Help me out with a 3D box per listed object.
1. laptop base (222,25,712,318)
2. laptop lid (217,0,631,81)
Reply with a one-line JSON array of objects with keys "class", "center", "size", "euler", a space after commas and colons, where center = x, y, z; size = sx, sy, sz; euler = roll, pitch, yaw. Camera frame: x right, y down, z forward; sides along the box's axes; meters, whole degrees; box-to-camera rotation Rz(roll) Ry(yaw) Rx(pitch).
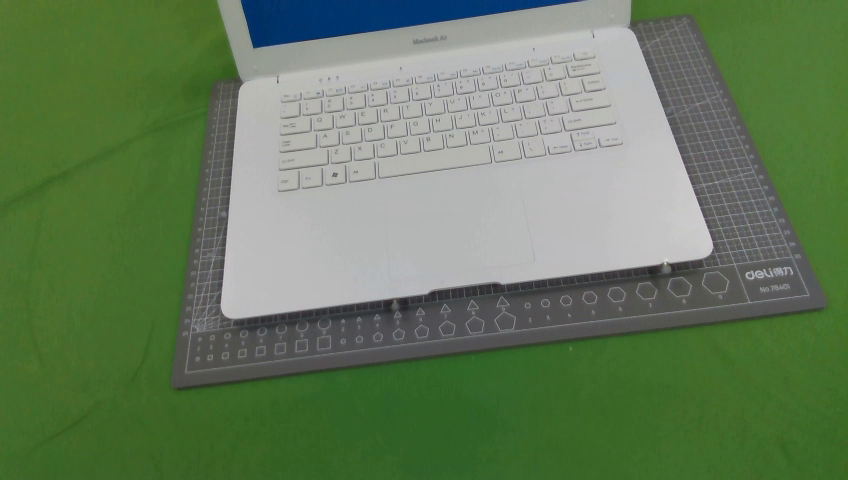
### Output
[{"class": "laptop base", "center": [0.019, -0.064, 0.488], "size": [0.354, 0.023, 0.233], "euler": [-7, 62, 2]}, {"class": "laptop lid", "center": [-0.007, -0.262, 0.486], "size": [0.357, 0.244, 0.013], "euler": [-9, 31, 3]}]
